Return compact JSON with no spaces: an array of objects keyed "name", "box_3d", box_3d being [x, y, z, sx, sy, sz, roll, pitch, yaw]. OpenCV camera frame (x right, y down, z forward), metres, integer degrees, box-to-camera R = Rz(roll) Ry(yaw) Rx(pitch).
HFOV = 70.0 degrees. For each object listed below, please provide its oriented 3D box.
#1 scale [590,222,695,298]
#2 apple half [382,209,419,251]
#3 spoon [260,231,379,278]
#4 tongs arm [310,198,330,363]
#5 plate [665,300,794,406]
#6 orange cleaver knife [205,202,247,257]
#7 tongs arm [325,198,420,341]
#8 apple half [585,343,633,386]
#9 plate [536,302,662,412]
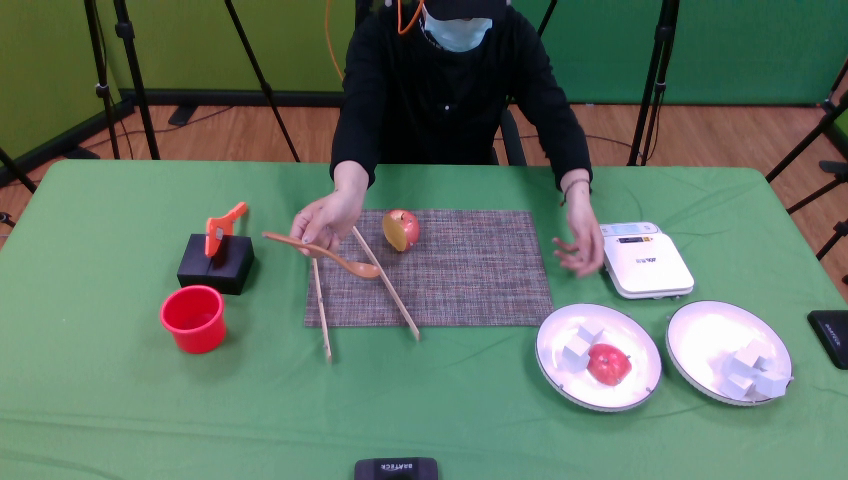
[{"name":"scale","box_3d":[0.424,0.031,1.189,0.149,0.032,0.199,-3,46,-7]},{"name":"apple half","box_3d":[-0.039,-0.022,1.175,0.053,0.075,0.080,-26,50,-31]},{"name":"spoon","box_3d":[-0.156,0.020,0.924,0.194,0.021,0.041,25,23,-24]},{"name":"tongs arm","box_3d":[-0.180,0.058,1.117,0.051,0.026,0.382,-10,47,-11]},{"name":"plate","box_3d":[0.513,0.194,1.033,0.208,0.039,0.206,2,46,-2]},{"name":"orange cleaver knife","box_3d":[-0.374,-0.024,1.151,0.012,0.077,0.210,4,16,1]},{"name":"tongs arm","box_3d":[-0.101,0.042,1.139,0.028,0.028,0.385,-23,51,-17]},{"name":"apple half","box_3d":[0.309,0.198,1.008,0.081,0.033,0.081,4,48,-4]},{"name":"plate","box_3d":[0.288,0.197,1.016,0.209,0.038,0.208,2,46,-2]}]
